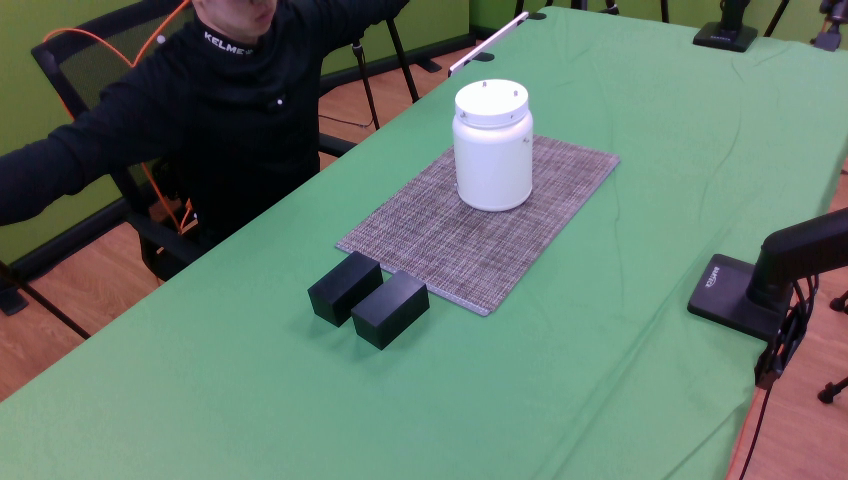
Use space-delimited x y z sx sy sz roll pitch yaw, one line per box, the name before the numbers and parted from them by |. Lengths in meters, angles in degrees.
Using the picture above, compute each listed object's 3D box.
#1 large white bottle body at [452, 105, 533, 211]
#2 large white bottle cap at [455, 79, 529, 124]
large white bottle body | 0.115 -0.155 1.001 0.130 0.185 0.130 -5 40 4
large white bottle cap | 0.106 -0.218 0.945 0.115 0.018 0.114 -4 41 4
